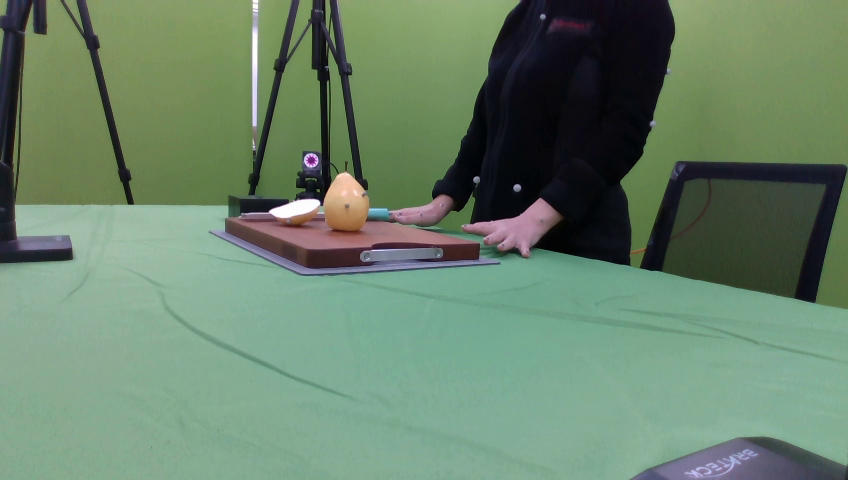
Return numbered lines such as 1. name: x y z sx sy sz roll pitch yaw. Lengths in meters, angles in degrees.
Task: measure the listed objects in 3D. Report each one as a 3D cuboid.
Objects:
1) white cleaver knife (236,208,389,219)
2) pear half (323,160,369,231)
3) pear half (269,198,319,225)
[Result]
1. white cleaver knife: -0.194 -0.049 1.104 0.288 0.021 0.065 -1 -2 -32
2. pear half: -0.113 -0.068 0.938 0.056 0.110 0.076 6 12 27
3. pear half: -0.212 -0.042 0.995 0.088 0.031 0.070 -9 19 20
